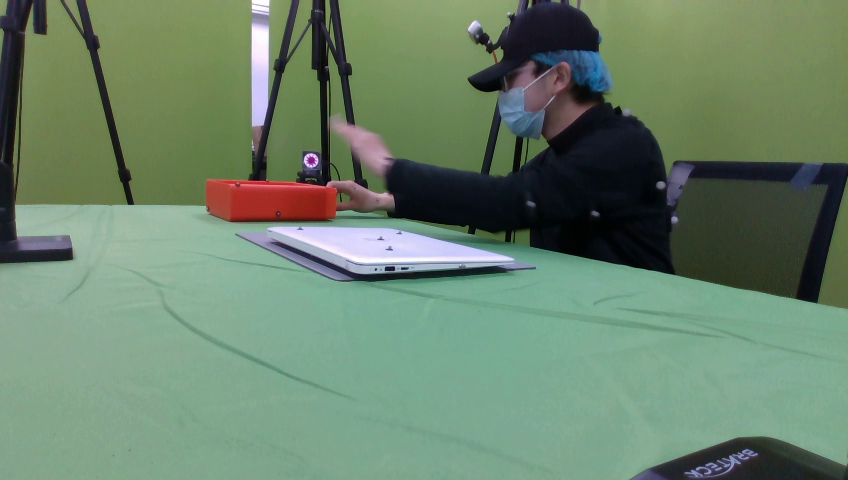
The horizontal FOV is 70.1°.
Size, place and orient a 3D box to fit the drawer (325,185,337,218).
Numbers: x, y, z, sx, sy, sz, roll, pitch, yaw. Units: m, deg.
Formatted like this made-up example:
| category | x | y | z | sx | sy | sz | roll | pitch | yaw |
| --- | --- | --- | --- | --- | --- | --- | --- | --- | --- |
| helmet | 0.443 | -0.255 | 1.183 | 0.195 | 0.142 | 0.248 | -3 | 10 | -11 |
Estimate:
| category | x | y | z | sx | sy | sz | roll | pitch | yaw |
| --- | --- | --- | --- | --- | --- | --- | --- | --- | --- |
| drawer | -0.333 | -0.093 | 1.379 | 0.213 | 0.073 | 0.193 | -3 | 10 | -33 |

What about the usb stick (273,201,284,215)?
| category | x | y | z | sx | sy | sz | roll | pitch | yaw |
| --- | --- | --- | --- | --- | --- | --- | --- | --- | --- |
| usb stick | -0.332 | -0.074 | 1.380 | 0.021 | 0.027 | 0.059 | 1 | 8 | -16 |

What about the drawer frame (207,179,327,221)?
| category | x | y | z | sx | sy | sz | roll | pitch | yaw |
| --- | --- | --- | --- | --- | --- | --- | --- | --- | --- |
| drawer frame | -0.356 | -0.093 | 1.364 | 0.215 | 0.082 | 0.200 | -3 | 10 | -34 |

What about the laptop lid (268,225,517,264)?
| category | x | y | z | sx | sy | sz | roll | pitch | yaw |
| --- | --- | --- | --- | --- | --- | --- | --- | --- | --- |
| laptop lid | -0.063 | 0.002 | 0.877 | 0.243 | 0.013 | 0.355 | 1 | 7 | -30 |

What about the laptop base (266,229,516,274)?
| category | x | y | z | sx | sy | sz | roll | pitch | yaw |
| --- | --- | --- | --- | --- | --- | --- | --- | --- | --- |
| laptop base | -0.066 | 0.014 | 0.877 | 0.237 | 0.023 | 0.352 | 2 | 6 | -32 |
